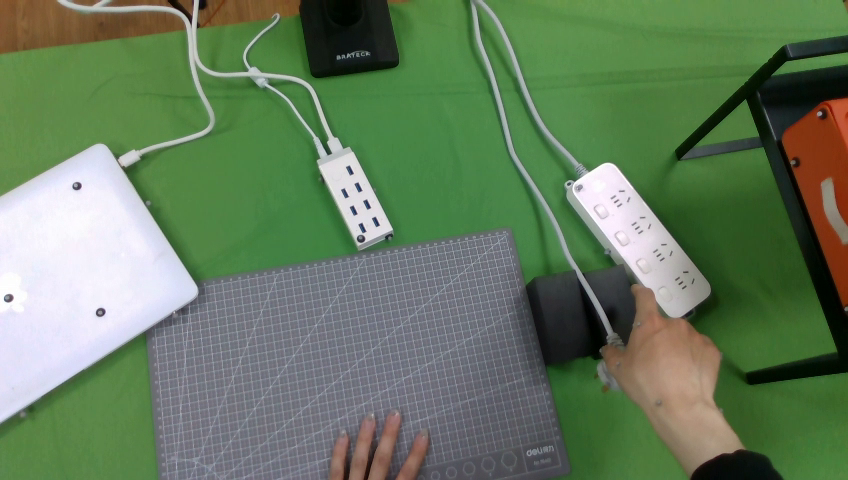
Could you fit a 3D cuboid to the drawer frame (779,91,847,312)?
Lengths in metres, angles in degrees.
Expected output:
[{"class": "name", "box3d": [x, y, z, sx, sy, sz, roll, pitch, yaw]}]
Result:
[{"class": "drawer frame", "box3d": [0.486, -0.050, 0.579, 0.214, 0.083, 0.200, -11, 75, -8]}]

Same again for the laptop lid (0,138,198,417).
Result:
[{"class": "laptop lid", "box3d": [-0.468, 0.059, 0.686, 0.357, 0.013, 0.240, -33, 81, -12]}]

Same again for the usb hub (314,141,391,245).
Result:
[{"class": "usb hub", "box3d": [-0.090, -0.059, 0.755, 0.049, 0.025, 0.124, -25, 78, -10]}]

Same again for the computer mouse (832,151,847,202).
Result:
[{"class": "computer mouse", "box3d": [0.453, -0.041, 0.591, 0.063, 0.041, 0.116, -14, 74, -4]}]

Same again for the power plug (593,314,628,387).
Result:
[{"class": "power plug", "box3d": [0.205, 0.126, 0.672, 0.035, 0.053, 0.072, 16, 45, -12]}]

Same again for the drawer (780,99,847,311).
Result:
[{"class": "drawer", "box3d": [0.482, -0.048, 0.580, 0.212, 0.073, 0.193, -10, 75, -7]}]

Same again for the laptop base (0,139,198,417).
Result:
[{"class": "laptop base", "box3d": [-0.471, 0.061, 0.699, 0.354, 0.023, 0.234, -34, 82, -12]}]

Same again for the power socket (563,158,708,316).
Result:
[{"class": "power socket", "box3d": [0.265, -0.006, 0.762, 0.072, 0.033, 0.225, -32, 79, -13]}]
